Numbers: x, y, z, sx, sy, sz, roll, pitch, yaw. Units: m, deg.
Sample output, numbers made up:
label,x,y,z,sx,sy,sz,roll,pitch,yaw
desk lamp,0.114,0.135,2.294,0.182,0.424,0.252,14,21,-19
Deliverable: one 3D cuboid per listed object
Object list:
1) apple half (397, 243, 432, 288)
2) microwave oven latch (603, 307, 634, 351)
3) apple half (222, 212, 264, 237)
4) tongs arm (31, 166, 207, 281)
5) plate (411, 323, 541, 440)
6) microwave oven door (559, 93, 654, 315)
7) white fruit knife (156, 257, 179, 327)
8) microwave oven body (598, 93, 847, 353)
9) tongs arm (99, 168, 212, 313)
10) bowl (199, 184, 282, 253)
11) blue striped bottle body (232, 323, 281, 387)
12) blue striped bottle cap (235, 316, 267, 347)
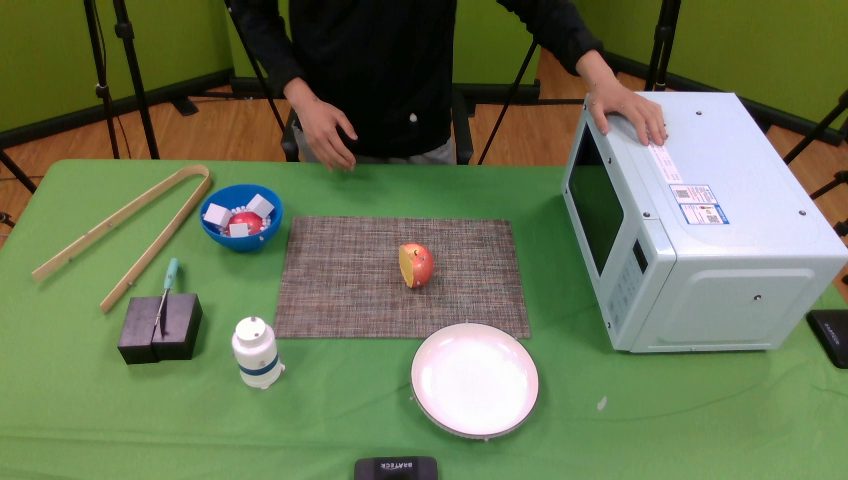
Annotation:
label,x,y,z,sx,sy,sz,roll,pitch,yaw
apple half,-0.013,0.047,1.115,0.053,0.075,0.080,-10,43,-21
microwave oven latch,0.333,0.153,1.044,0.030,0.029,0.078,-1,45,-4
apple half,-0.346,-0.033,1.161,0.081,0.033,0.081,4,47,-4
tongs arm,-0.578,-0.040,1.184,0.050,0.026,0.384,23,48,17
plate,0.082,0.228,0.976,0.208,0.039,0.206,2,45,-2
microwave oven door,0.327,-0.074,1.123,0.039,0.245,0.353,-1,46,-5
white fruit knife,-0.440,0.085,1.037,0.016,0.027,0.206,10,26,-19
microwave oven body,0.476,-0.041,1.109,0.326,0.261,0.438,-1,45,-4
tongs arm,-0.503,-0.012,1.167,0.028,0.028,0.385,11,46,11
bowl,-0.346,-0.030,1.164,0.151,0.077,0.150,3,46,-3
blue striped bottle body,-0.262,0.172,0.944,0.063,0.121,0.062,2,46,-2
blue striped bottle cap,-0.259,0.137,0.907,0.044,0.021,0.044,3,43,-2
